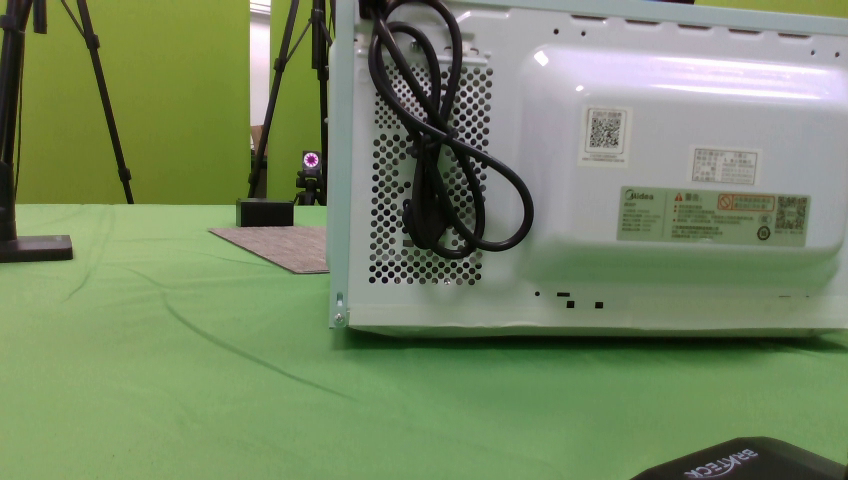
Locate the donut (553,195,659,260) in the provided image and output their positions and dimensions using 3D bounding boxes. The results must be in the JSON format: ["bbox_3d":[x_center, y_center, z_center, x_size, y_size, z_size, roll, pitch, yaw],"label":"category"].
[{"bbox_3d":[0.172,-0.015,0.575,0.099,0.048,0.099,-12,13,3],"label":"donut"}]

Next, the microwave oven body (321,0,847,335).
[{"bbox_3d":[0.133,-0.062,0.567,0.443,0.260,0.325,2,6,-8],"label":"microwave oven body"}]

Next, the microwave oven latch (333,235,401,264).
[{"bbox_3d":[-0.065,0.011,0.700,0.079,0.029,0.030,2,7,-8],"label":"microwave oven latch"}]

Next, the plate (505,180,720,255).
[{"bbox_3d":[0.184,-0.024,0.615,0.209,0.038,0.209,5,15,-1],"label":"plate"}]

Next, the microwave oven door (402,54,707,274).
[{"bbox_3d":[0.157,-0.085,0.717,0.357,0.243,0.039,1,8,-8],"label":"microwave oven door"}]
